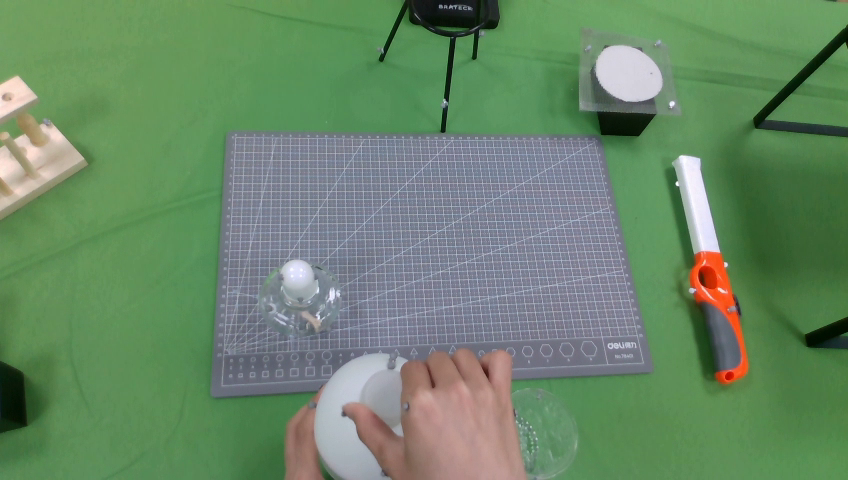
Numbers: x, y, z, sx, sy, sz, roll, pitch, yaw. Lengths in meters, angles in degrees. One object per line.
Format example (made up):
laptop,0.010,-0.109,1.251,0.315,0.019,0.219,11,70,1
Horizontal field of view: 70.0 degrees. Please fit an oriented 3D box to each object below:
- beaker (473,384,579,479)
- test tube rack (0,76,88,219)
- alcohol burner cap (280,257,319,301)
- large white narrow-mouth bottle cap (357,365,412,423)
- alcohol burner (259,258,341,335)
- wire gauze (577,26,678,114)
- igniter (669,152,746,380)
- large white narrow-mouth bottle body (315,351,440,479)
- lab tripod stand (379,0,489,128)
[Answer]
beaker,0.085,0.178,0.552,0.084,0.101,0.073,4,65,-5
test tube rack,-0.463,-0.048,0.576,0.066,0.085,0.242,44,67,12
alcohol burner cap,-0.112,0.033,0.535,0.034,0.048,0.033,2,71,-4
large white narrow-mouth bottle cap,-0.027,0.104,0.409,0.038,0.024,0.037,3,65,-6
alcohol burner,-0.116,0.047,0.568,0.078,0.120,0.077,4,64,-8
wire gauze,0.246,-0.207,0.743,0.122,0.011,0.124,6,65,-6
igniter,0.323,0.022,0.695,0.057,0.025,0.274,6,66,-17
large white narrow-mouth bottle body,-0.039,0.146,0.495,0.102,0.196,0.101,3,65,-6
lab tripod stand,0.019,-0.227,0.703,0.149,0.132,0.147,4,66,-9
